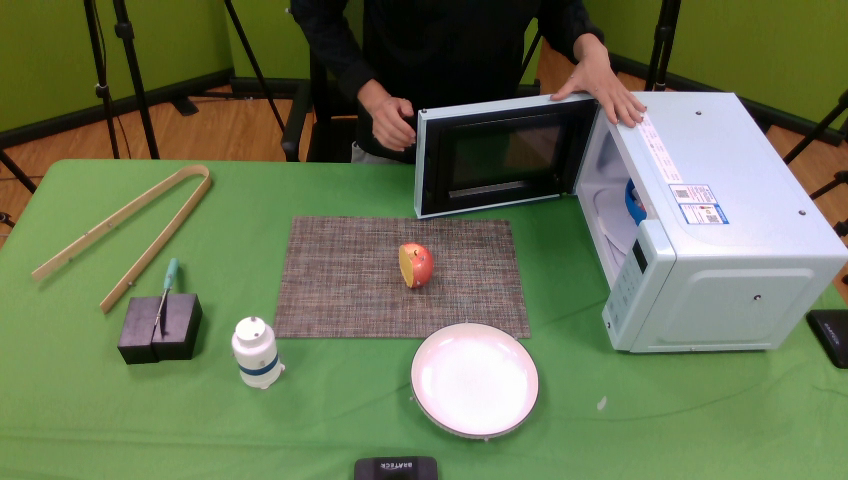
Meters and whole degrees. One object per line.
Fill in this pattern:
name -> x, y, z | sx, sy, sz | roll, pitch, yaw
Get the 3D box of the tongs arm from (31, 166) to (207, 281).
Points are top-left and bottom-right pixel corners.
tongs arm -> -0.578, -0.040, 1.185 | 0.050, 0.026, 0.384 | 23, 48, 17

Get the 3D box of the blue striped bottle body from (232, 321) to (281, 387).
blue striped bottle body -> -0.262, 0.171, 0.944 | 0.063, 0.121, 0.062 | 2, 46, -2

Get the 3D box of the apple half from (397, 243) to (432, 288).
apple half -> -0.013, 0.047, 1.115 | 0.053, 0.075, 0.080 | -10, 43, -21

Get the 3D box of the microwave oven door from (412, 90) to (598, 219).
microwave oven door -> 0.155, -0.168, 1.201 | 0.356, 0.245, 0.039 | -10, 47, -14

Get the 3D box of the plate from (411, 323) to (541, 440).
plate -> 0.082, 0.228, 0.976 | 0.208, 0.039, 0.206 | 2, 45, -2

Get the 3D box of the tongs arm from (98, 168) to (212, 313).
tongs arm -> -0.504, -0.012, 1.167 | 0.028, 0.028, 0.385 | 11, 46, 10

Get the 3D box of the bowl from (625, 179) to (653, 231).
bowl -> 0.453, -0.047, 1.171 | 0.151, 0.077, 0.150 | 7, 35, -5

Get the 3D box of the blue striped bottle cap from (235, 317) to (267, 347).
blue striped bottle cap -> -0.260, 0.137, 0.907 | 0.044, 0.021, 0.044 | 3, 43, -2

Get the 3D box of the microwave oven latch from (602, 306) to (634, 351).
microwave oven latch -> 0.332, 0.153, 1.044 | 0.030, 0.029, 0.078 | 0, 45, -4

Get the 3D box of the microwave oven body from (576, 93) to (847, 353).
microwave oven body -> 0.475, -0.041, 1.109 | 0.326, 0.261, 0.438 | -1, 45, -4

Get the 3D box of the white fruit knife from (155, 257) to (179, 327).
white fruit knife -> -0.440, 0.085, 1.037 | 0.016, 0.027, 0.206 | 10, 26, -19

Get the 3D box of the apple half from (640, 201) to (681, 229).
apple half -> 0.454, -0.055, 1.162 | 0.081, 0.033, 0.081 | -6, 36, 5
